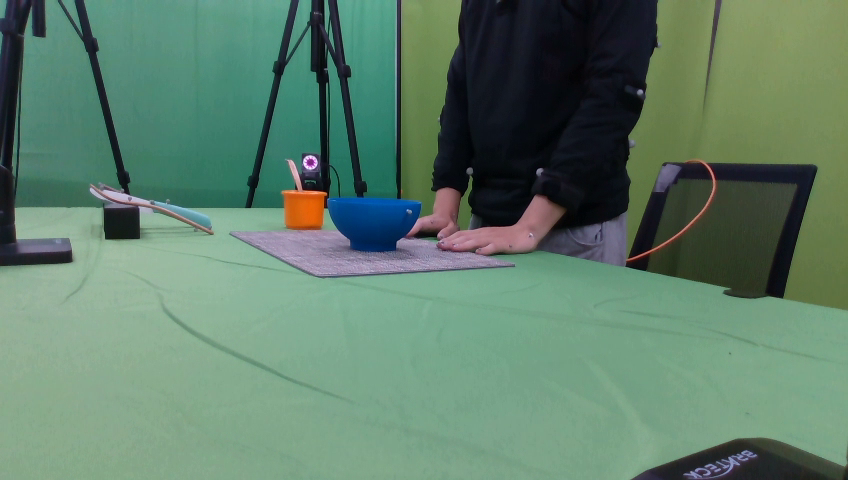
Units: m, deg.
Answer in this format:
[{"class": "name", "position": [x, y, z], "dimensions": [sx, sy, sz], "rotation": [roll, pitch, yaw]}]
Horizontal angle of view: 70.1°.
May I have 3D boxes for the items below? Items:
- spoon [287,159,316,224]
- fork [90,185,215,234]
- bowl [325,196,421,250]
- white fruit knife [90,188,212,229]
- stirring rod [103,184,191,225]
[{"class": "spoon", "position": [-0.261, -0.104, 1.264], "dimensions": [0.042, 0.193, 0.021], "rotation": [-1, -37, -28]}, {"class": "fork", "position": [-0.452, -0.049, 1.018], "dimensions": [0.208, 0.018, 0.028], "rotation": [21, -7, -33]}, {"class": "bowl", "position": [-0.081, -0.027, 0.957], "dimensions": [0.151, 0.077, 0.151], "rotation": [2, 7, 0]}, {"class": "white fruit knife", "position": [-0.478, -0.058, 1.073], "dimensions": [0.208, 0.027, 0.016], "rotation": [17, -4, -30]}, {"class": "stirring rod", "position": [-0.507, -0.063, 1.129], "dimensions": [0.177, 0.006, 0.014], "rotation": [27, 1, -31]}]
